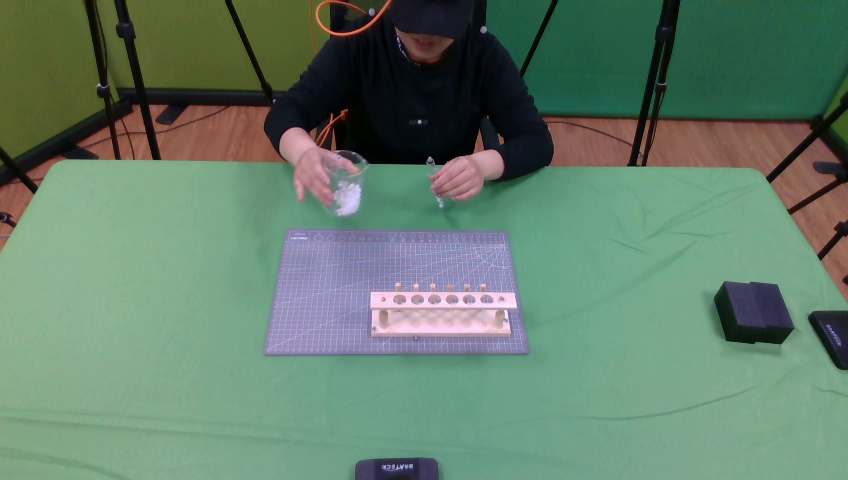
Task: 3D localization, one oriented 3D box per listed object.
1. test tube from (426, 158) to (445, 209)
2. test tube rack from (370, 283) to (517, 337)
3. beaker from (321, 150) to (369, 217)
[{"bbox_3d":[0.024,-0.109,1.200,0.017,0.151,0.017,-5,57,8],"label":"test tube"},{"bbox_3d":[0.030,0.116,1.041,0.242,0.085,0.066,1,46,-4],"label":"test tube rack"},{"bbox_3d":[-0.144,-0.098,1.080,0.084,0.100,0.073,-3,45,-17],"label":"beaker"}]
